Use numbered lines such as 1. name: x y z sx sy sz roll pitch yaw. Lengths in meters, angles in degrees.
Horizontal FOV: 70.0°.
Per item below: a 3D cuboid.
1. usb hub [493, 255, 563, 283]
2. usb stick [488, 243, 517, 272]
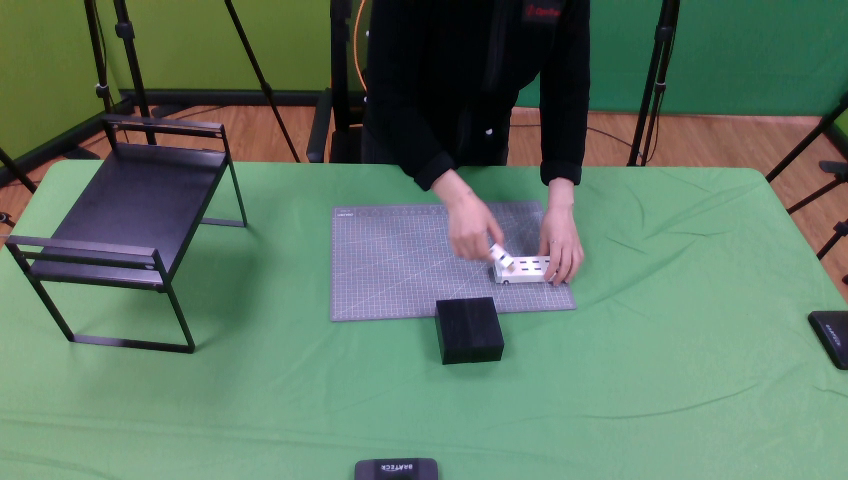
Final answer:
1. usb hub: 0.198 0.055 1.150 0.125 0.025 0.049 -2 47 -5
2. usb stick: 0.140 0.032 1.063 0.059 0.027 0.021 45 83 2
